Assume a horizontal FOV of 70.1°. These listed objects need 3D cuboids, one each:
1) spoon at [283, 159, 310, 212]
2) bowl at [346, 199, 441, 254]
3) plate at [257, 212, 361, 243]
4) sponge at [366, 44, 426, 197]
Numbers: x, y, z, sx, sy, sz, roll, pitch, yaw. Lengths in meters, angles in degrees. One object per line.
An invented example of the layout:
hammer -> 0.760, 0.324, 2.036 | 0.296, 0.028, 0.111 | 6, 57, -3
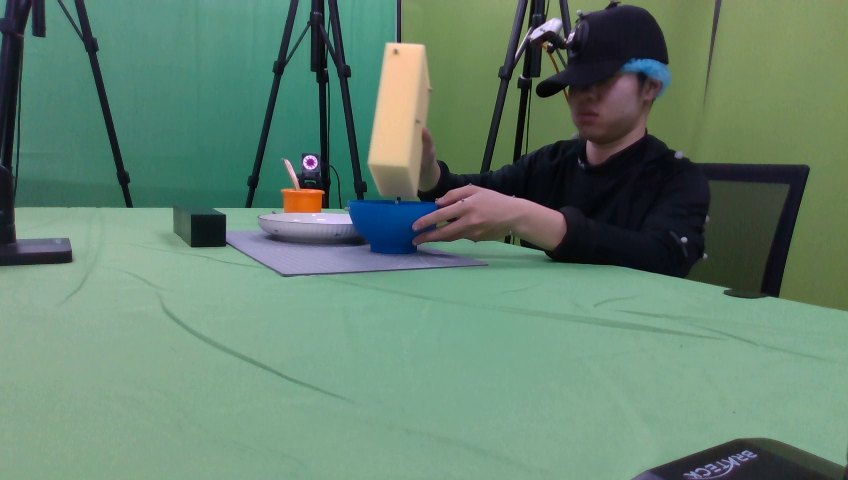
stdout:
spoon -> -0.279, -0.111, 1.323 | 0.042, 0.193, 0.021 | 3, -39, -36
bowl -> -0.049, -0.022, 0.950 | 0.151, 0.077, 0.151 | 2, 7, 0
plate -> -0.189, -0.023, 1.072 | 0.209, 0.038, 0.209 | 3, 7, 0
sponge -> -0.040, -0.186, 0.953 | 0.061, 0.206, 0.118 | 4, -18, 7
